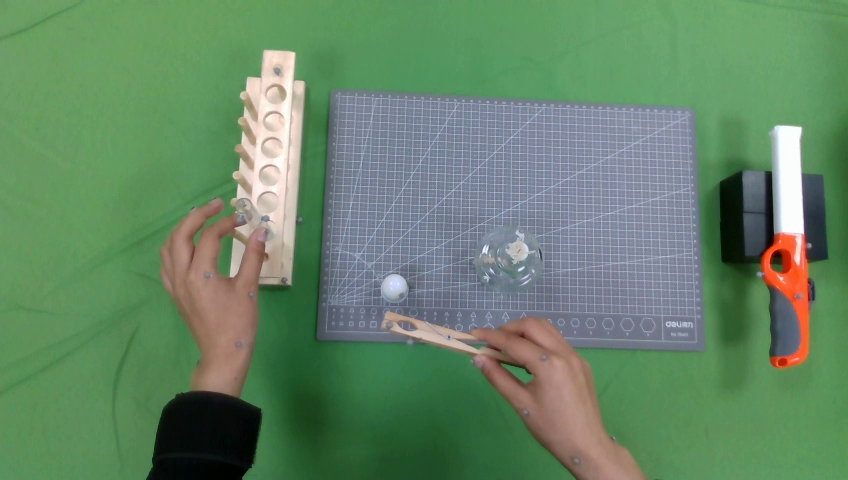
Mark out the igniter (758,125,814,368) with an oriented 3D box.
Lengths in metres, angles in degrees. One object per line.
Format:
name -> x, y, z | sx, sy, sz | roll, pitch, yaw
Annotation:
igniter -> 0.405, 0.004, 0.680 | 0.057, 0.025, 0.275 | 5, 80, 3

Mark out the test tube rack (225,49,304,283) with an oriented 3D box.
test tube rack -> -0.178, -0.078, 0.666 | 0.067, 0.085, 0.241 | 3, 81, -4

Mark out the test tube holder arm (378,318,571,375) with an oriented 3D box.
test tube holder arm -> 0.046, 0.096, 0.543 | 0.179, 0.015, 0.013 | 17, 70, -7

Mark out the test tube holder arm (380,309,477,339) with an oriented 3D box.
test tube holder arm -> 0.004, 0.078, 0.540 | 0.088, 0.015, 0.010 | 17, 70, -7

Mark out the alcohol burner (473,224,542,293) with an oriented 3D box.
alcohol burner -> 0.093, 0.018, 0.654 | 0.078, 0.119, 0.077 | 0, 82, -3

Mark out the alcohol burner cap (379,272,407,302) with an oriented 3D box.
alcohol burner cap -> -0.035, 0.051, 0.674 | 0.034, 0.048, 0.033 | 1, 79, -4

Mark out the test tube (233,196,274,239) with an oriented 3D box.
test tube -> -0.165, -0.016, 0.606 | 0.017, 0.150, 0.017 | 1, 77, -3
